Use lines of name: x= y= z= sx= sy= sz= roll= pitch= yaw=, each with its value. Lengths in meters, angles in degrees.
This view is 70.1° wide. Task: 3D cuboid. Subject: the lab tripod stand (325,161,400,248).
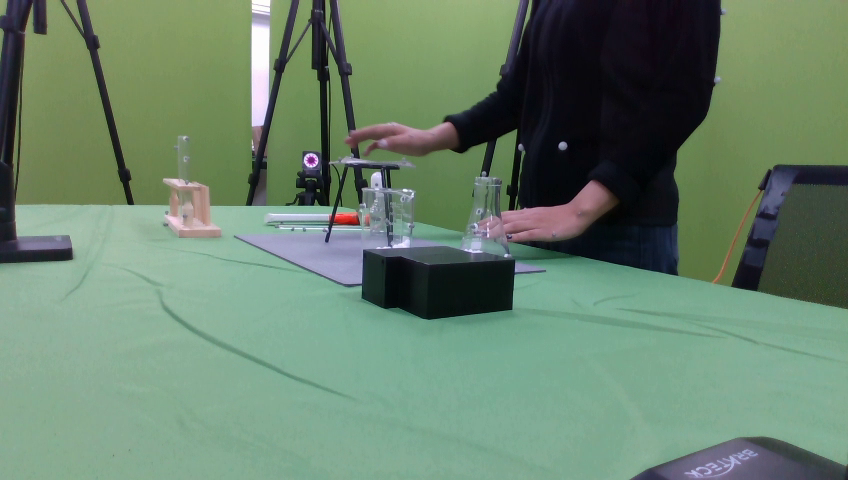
lab tripod stand: x=-0.083 y=-0.060 z=0.977 sx=0.148 sy=0.131 sz=0.148 roll=4 pitch=8 yaw=0

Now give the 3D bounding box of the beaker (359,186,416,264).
beaker: x=-0.048 y=-0.020 z=0.817 sx=0.083 sy=0.100 sz=0.074 roll=9 pitch=10 yaw=41

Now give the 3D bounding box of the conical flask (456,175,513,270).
conical flask: x=0.083 y=-0.025 z=0.801 sx=0.075 sy=0.122 sz=0.075 roll=2 pitch=7 yaw=0

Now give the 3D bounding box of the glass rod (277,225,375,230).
glass rod: x=-0.187 y=-0.024 z=1.178 sx=0.201 sy=0.008 sz=0.008 roll=1 pitch=6 yaw=-31

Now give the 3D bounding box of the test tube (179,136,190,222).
test tube: x=-0.416 y=-0.105 z=1.052 sx=0.017 sy=0.150 sz=0.017 roll=0 pitch=4 yaw=0

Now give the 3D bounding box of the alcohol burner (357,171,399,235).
alcohol burner: x=-0.085 y=-0.069 z=1.125 sx=0.078 sy=0.119 sz=0.078 roll=3 pitch=10 yaw=0

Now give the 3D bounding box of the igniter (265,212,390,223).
igniter: x=-0.196 y=-0.048 z=1.285 sx=0.278 sy=0.025 sz=0.057 roll=-2 pitch=-2 yaw=-30

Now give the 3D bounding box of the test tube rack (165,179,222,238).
test tube rack: x=-0.423 y=-0.062 z=1.098 sx=0.067 sy=0.085 sz=0.241 roll=-2 pitch=9 yaw=-28

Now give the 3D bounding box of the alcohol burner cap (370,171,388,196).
alcohol burner cap: x=-0.085 y=-0.104 z=1.121 sx=0.034 sy=0.048 sz=0.034 roll=-4 pitch=7 yaw=1

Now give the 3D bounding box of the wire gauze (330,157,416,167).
wire gauze: x=-0.079 y=-0.126 z=0.972 sx=0.121 sy=0.011 sz=0.125 roll=4 pitch=8 yaw=5
